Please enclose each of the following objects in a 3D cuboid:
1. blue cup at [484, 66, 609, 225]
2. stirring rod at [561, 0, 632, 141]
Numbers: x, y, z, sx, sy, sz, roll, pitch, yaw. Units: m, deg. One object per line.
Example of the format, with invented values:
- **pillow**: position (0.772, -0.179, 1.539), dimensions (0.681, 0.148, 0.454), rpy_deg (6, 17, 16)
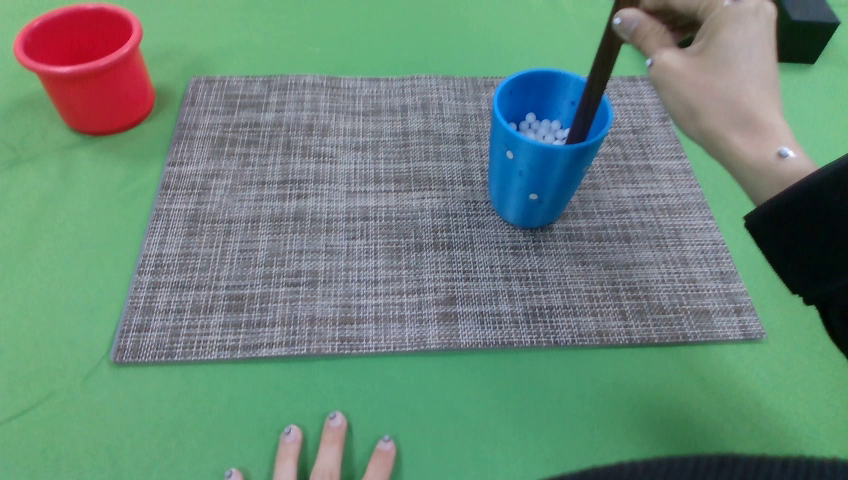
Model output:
- **blue cup**: position (0.084, -0.065, 0.461), dimensions (0.093, 0.101, 0.091), rpy_deg (2, 53, -3)
- **stirring rod**: position (0.111, -0.116, 0.385), dimensions (0.014, 0.177, 0.006), rpy_deg (13, 47, 3)
